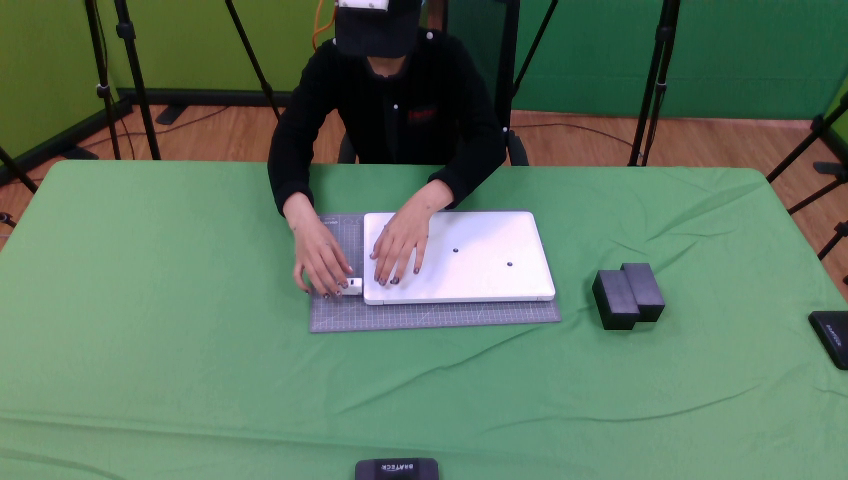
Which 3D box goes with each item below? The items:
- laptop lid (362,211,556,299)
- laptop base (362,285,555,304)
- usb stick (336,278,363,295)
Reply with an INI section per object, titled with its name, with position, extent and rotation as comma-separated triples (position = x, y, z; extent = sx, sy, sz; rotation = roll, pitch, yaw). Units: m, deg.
[laptop lid]
position = 0.059, 0.022, 1.168
extent = 0.357, 0.013, 0.240
rotation = 0, 44, -4
[laptop base]
position = 0.059, 0.032, 1.174
extent = 0.355, 0.023, 0.234
rotation = -1, 43, -5
[usb stick]
position = -0.128, 0.083, 1.094
extent = 0.059, 0.027, 0.021
rotation = 2, 44, -6
